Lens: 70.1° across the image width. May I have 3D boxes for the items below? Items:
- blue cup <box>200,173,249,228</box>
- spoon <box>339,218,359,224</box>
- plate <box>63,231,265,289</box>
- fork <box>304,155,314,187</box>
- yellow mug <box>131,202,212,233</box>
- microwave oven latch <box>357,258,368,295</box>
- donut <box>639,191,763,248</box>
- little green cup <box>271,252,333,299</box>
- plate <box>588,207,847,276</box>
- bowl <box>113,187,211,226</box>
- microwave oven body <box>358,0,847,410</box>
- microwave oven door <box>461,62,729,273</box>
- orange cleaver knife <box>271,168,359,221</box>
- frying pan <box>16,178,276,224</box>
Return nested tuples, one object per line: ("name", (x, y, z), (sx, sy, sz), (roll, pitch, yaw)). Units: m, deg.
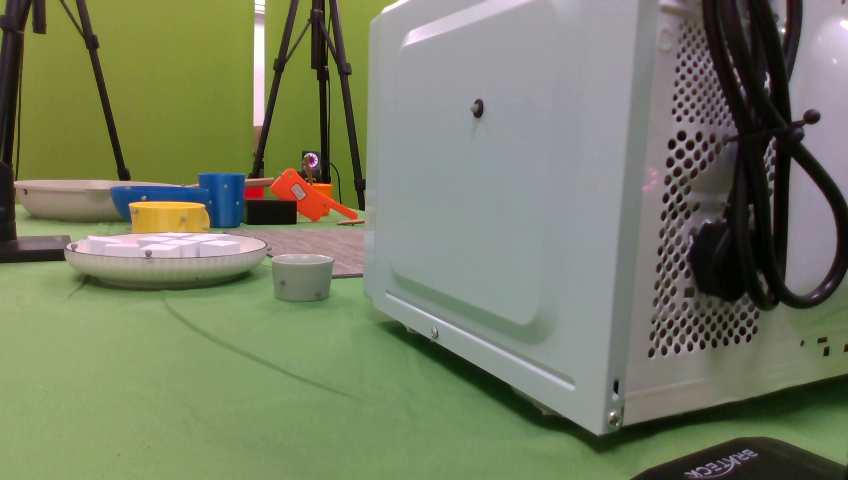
("blue cup", (-0.381, -0.076, 1.155), (0.093, 0.100, 0.092), (0, 8, 0))
("spoon", (-0.087, -0.041, 1.268), (0.193, 0.021, 0.041), (4, 20, 13))
("plate", (-0.288, 0.021, 0.687), (0.208, 0.039, 0.207), (2, 8, 0))
("fork", (-0.268, -0.134, 1.446), (0.028, 0.018, 0.207), (2, -36, -1))
("yellow mug", (-0.356, -0.020, 0.878), (0.099, 0.064, 0.131), (5, 7, 21))
("microwave oven latch", (-0.019, 0.031, 0.529), (0.079, 0.029, 0.030), (-1, 7, -26))
("donut", (0.236, -0.017, 0.519), (0.099, 0.048, 0.099), (3, 5, 0))
("little green cup", (-0.122, 0.035, 0.605), (0.061, 0.038, 0.061), (3, 7, 0))
("plate", (0.245, -0.001, 0.511), (0.209, 0.038, 0.209), (2, 7, 0))
("bowl", (-0.436, -0.046, 1.013), (0.151, 0.077, 0.151), (2, 7, 0))
("microwave oven body", (0.210, -0.051, 0.471), (0.444, 0.260, 0.324), (-1, 7, -28))
("microwave oven door", (0.203, -0.099, 0.805), (0.354, 0.243, 0.039), (8, 10, 39))
("orange cleaver knife", (-0.236, -0.084, 1.333), (0.212, 0.077, 0.012), (31, -9, -31))
("frying pan", (-0.554, -0.097, 1.266), (0.490, 0.102, 0.305), (-10, 13, -24))
